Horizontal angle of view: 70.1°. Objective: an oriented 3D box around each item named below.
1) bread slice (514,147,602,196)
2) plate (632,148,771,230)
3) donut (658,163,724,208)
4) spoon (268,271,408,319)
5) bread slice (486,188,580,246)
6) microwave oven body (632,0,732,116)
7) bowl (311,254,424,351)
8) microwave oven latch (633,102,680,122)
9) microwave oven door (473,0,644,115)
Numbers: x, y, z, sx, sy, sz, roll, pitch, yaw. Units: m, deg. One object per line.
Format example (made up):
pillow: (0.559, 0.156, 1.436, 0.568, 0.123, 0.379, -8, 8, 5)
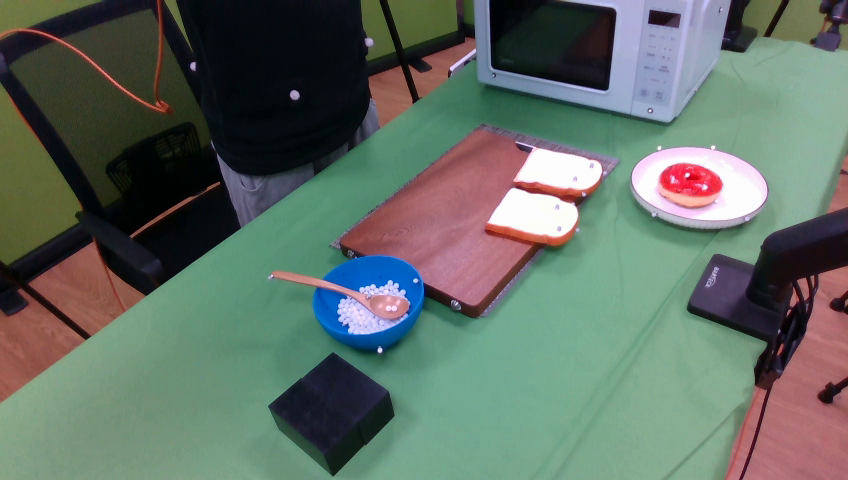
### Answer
bread slice: (0.232, -0.115, 1.026, 0.133, 0.018, 0.107, 13, 45, 20)
plate: (0.447, -0.081, 0.988, 0.207, 0.039, 0.206, -4, 40, 4)
donut: (0.432, -0.089, 0.982, 0.099, 0.048, 0.098, -2, 38, 2)
spoon: (-0.116, 0.069, 0.813, 0.194, 0.021, 0.041, 18, 39, 1)
bread slice: (0.176, -0.037, 0.946, 0.131, 0.019, 0.105, 15, 47, 24)
microwave oven body: (0.377, -0.462, 1.267, 0.438, 0.261, 0.327, 21, 49, 30)
bowl: (-0.071, 0.098, 0.821, 0.151, 0.077, 0.150, -4, 40, 4)
microwave oven latch: (0.444, -0.249, 1.158, 0.078, 0.029, 0.030, 22, 49, 30)
microwave oven door: (0.257, -0.396, 1.199, 0.353, 0.245, 0.039, 21, 48, 29)
